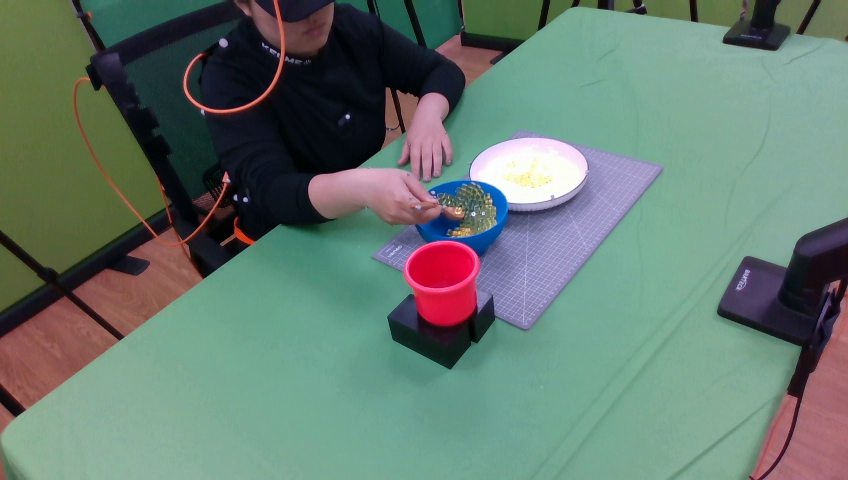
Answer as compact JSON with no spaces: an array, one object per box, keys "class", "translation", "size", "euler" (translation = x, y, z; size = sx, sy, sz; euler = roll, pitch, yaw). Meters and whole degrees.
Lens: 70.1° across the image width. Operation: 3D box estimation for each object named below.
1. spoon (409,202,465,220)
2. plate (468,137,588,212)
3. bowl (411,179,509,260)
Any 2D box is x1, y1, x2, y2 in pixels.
[{"class":"spoon","translation":[0.018,-0.047,0.889],"size":[0.041,0.021,0.195],"euler":[24,6,20]},{"class":"plate","translation":[0.182,-0.112,1.064],"size":[0.207,0.039,0.206],"euler":[-5,40,5]},{"class":"bowl","translation":[0.060,-0.022,0.949],"size":[0.151,0.077,0.150],"euler":[-5,40,5]}]
